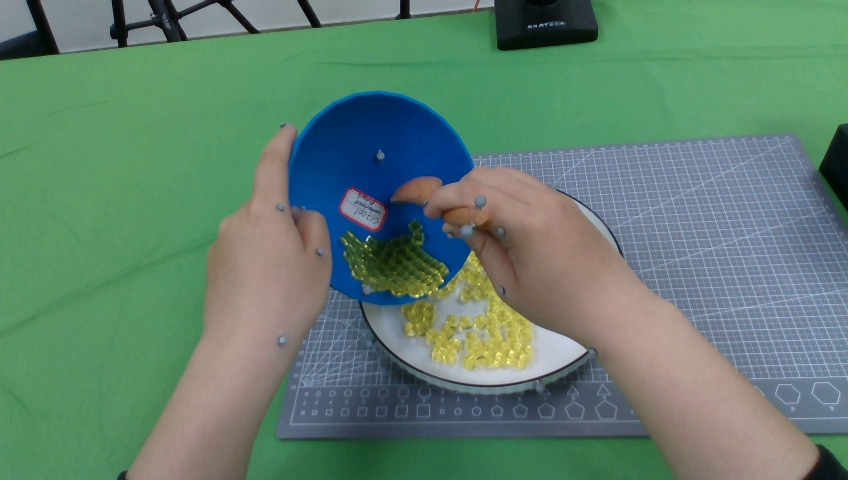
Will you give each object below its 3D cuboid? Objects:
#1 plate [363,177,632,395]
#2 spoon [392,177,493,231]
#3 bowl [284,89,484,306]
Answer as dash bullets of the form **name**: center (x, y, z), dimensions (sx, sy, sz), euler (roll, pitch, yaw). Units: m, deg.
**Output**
- **plate**: center (0.056, 0.033, 0.484), dimensions (0.207, 0.039, 0.205), euler (-5, 48, 6)
- **spoon**: center (0.012, -0.022, 0.379), dimensions (0.041, 0.022, 0.192), euler (-19, 15, -9)
- **bowl**: center (-0.039, -0.028, 0.452), dimensions (0.151, 0.152, 0.076), euler (-40, 16, -24)
